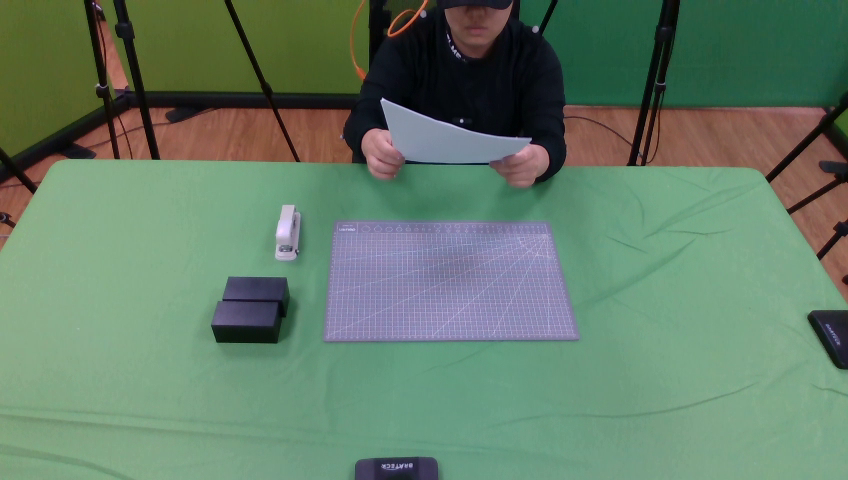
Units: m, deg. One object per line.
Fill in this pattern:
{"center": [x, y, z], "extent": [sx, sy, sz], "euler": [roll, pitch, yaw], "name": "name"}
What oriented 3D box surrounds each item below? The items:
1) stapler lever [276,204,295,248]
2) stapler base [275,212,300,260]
{"center": [-0.268, -0.034, 1.174], "extent": [0.027, 0.040, 0.117], "euler": [0, 45, -7], "name": "stapler lever"}
{"center": [-0.268, -0.016, 1.190], "extent": [0.041, 0.024, 0.129], "euler": [0, 44, -7], "name": "stapler base"}
